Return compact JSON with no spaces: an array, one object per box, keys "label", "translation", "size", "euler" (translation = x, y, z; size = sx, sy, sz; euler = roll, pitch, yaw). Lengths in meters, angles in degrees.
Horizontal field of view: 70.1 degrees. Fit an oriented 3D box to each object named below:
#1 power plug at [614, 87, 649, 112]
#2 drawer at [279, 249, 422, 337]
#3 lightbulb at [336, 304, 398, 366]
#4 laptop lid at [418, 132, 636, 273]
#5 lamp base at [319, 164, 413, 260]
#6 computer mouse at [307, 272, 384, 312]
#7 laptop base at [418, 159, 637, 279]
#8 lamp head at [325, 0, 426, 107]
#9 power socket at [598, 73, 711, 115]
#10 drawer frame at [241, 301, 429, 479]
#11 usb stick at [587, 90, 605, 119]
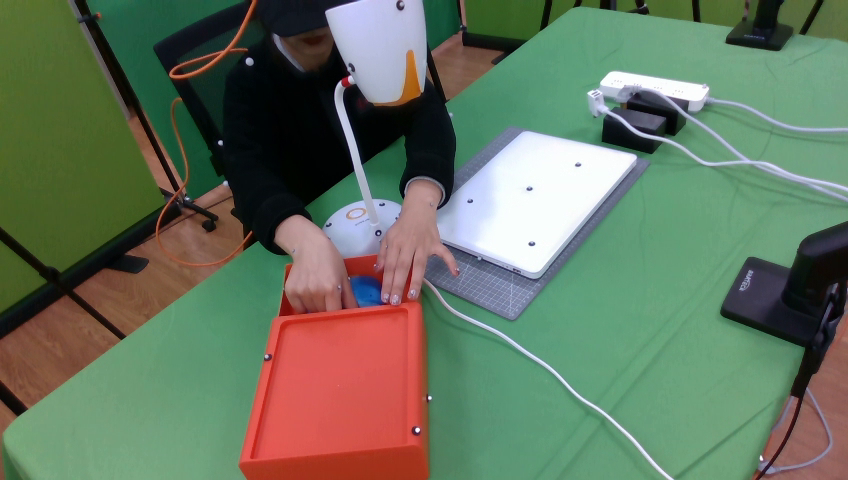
[{"label":"power plug","translation":[0.406,-0.275,1.192],"size":[0.035,0.053,0.072],"euler":[-15,24,-15]},{"label":"drawer","translation":[-0.101,0.116,0.829],"size":[0.194,0.073,0.210],"euler":[-7,41,2]},{"label":"lightbulb","translation":[-0.082,0.126,0.824],"size":[0.060,0.060,0.107],"euler":[-35,61,-28]},{"label":"laptop lid","translation":[0.181,-0.084,1.036],"size":[0.239,0.013,0.358],"euler":[22,49,35]},{"label":"lamp base","translation":[-0.102,-0.068,0.962],"size":[0.161,0.181,0.177],"euler":[-30,46,-20]},{"label":"computer mouse","translation":[-0.116,0.085,0.879],"size":[0.117,0.041,0.062],"euler":[-17,46,3]},{"label":"laptop base","translation":[0.185,-0.074,1.042],"size":[0.233,0.023,0.355],"euler":[19,48,35]},{"label":"lamp head","translation":[-0.048,-0.218,0.708],"size":[0.112,0.123,0.112],"euler":[-9,24,5]},{"label":"power socket","translation":[0.469,-0.304,1.249],"size":[0.225,0.033,0.072],"euler":[20,49,30]},{"label":"drawer frame","translation":[-0.096,0.183,0.741],"size":[0.202,0.083,0.212],"euler":[-6,40,3]},{"label":"usb stick","translation":[0.334,-0.258,1.170],"size":[0.021,0.059,0.027],"euler":[-28,44,-5]}]
